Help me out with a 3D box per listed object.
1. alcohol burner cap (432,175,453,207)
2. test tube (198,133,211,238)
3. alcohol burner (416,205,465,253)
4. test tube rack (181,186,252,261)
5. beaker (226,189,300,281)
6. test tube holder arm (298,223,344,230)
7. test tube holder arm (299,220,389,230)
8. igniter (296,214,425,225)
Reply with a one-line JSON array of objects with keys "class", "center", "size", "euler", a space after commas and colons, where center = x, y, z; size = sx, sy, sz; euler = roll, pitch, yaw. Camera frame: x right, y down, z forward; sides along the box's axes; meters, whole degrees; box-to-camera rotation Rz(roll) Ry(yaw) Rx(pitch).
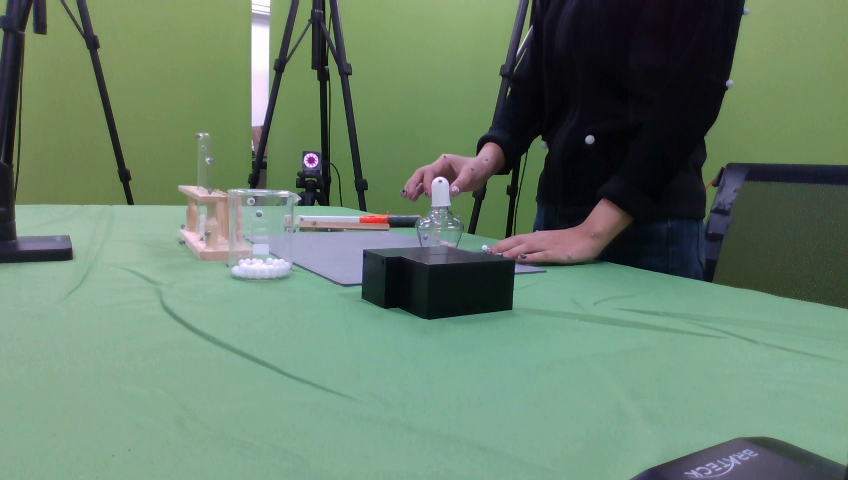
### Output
[{"class": "alcohol burner cap", "center": [0.028, -0.076, 0.931], "size": [0.034, 0.048, 0.034], "euler": [-3, 8, 1]}, {"class": "test tube", "center": [-0.316, -0.078, 0.871], "size": [0.017, 0.150, 0.017], "euler": [2, 3, 0]}, {"class": "alcohol burner", "center": [0.025, -0.040, 0.935], "size": [0.078, 0.119, 0.078], "euler": [1, 6, 0]}, {"class": "test tube rack", "center": [-0.312, -0.031, 0.893], "size": [0.067, 0.085, 0.241], "euler": [-1, 8, -27]}, {"class": "beaker", "center": [-0.184, -0.007, 0.694], "size": [0.084, 0.100, 0.073], "euler": [-1, 8, -29]}, {"class": "test tube holder arm", "center": [-0.197, -0.026, 1.163], "size": [0.088, 0.015, 0.010], "euler": [0, -26, -20]}, {"class": "test tube holder arm", "center": [-0.153, -0.028, 1.174], "size": [0.179, 0.015, 0.013], "euler": [1, -26, -21]}, {"class": "igniter", "center": [-0.129, -0.044, 1.273], "size": [0.278, 0.025, 0.057], "euler": [-1, -2, -26]}]
